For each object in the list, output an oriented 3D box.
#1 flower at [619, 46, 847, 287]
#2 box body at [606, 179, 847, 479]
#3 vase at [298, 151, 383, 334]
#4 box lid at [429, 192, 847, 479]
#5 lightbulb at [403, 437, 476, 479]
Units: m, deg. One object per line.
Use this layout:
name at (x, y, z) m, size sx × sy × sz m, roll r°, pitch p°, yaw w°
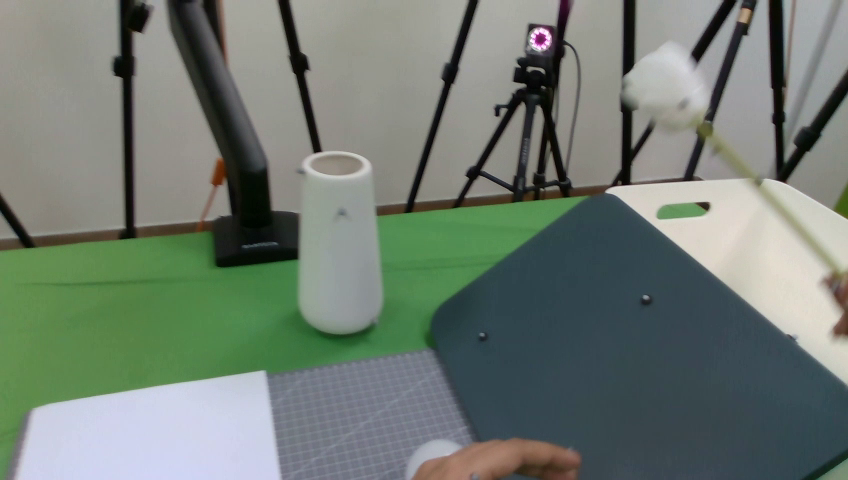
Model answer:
flower at (0.253, 0.011, 0.378) m, size 0.359 × 0.044 × 0.038 m, roll 54°, pitch 20°, yaw 18°
box body at (0.367, 0.087, 0.635) m, size 0.255 × 0.161 × 0.360 m, roll -5°, pitch 32°, yaw -15°
vase at (-0.094, 0.006, 0.673) m, size 0.098 × 0.201 × 0.097 m, roll 2°, pitch 30°, yaw -1°
box lid at (0.156, 0.109, 0.558) m, size 0.263 × 0.015 × 0.367 m, roll -37°, pitch 35°, yaw 5°
lightbulb at (0.017, 0.211, 0.483) m, size 0.060 × 0.060 × 0.106 m, roll -3°, pitch 47°, yaw -13°
